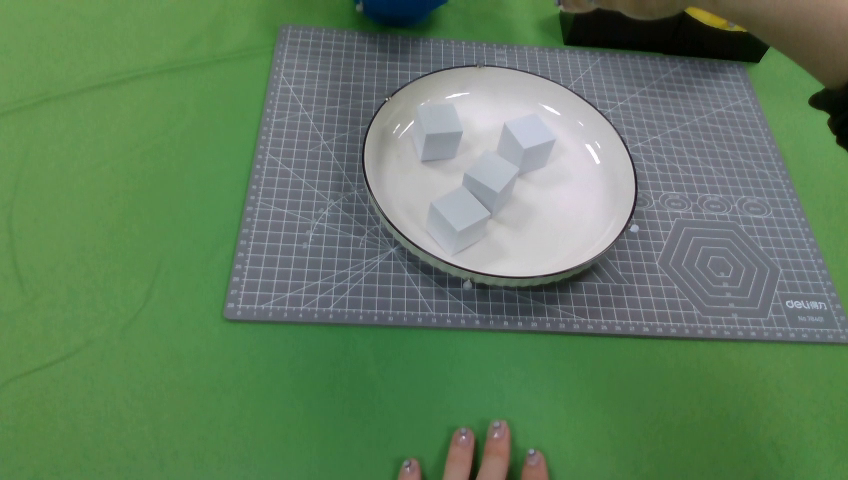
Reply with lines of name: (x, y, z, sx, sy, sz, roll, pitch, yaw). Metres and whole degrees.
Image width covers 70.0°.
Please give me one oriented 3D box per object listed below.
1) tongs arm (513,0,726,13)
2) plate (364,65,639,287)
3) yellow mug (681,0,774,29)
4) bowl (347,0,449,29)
tongs arm: (0.038, -0.187, 0.419, 0.028, 0.028, 0.383, -45, 39, -8)
plate: (0.058, -0.051, 0.468, 0.208, 0.039, 0.205, 3, 57, -5)
yellow mug: (0.265, -0.245, 0.544, 0.131, 0.064, 0.099, -11, 59, -12)
bowl: (-0.028, -0.253, 0.567, 0.151, 0.077, 0.150, 3, 57, -4)
